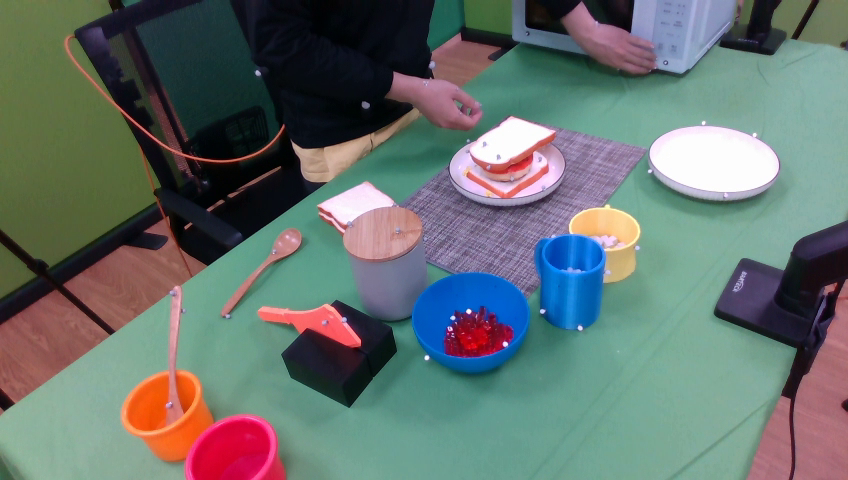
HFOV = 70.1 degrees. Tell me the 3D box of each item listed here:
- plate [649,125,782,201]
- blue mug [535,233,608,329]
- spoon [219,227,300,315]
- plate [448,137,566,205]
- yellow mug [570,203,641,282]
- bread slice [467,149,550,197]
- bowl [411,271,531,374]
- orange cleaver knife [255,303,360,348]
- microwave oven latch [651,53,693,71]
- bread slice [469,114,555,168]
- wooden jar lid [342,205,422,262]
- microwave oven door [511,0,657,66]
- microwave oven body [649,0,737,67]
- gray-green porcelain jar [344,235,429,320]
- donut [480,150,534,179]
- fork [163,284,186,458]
[{"bbox_3d":[0.494,-0.128,1.037,0.207,0.039,0.206,-4,40,4],"label":"plate"},{"bbox_3d":[0.191,0.048,0.825,0.082,0.106,0.115,-26,44,-20],"label":"blue mug"},{"bbox_3d":[-0.260,0.045,0.954,0.041,0.021,0.194,27,48,10],"label":"spoon"},{"bbox_3d":[0.147,-0.124,1.076,0.209,0.038,0.208,-4,41,4],"label":"plate"},{"bbox_3d":[0.269,-0.005,0.905,0.099,0.064,0.130,7,42,15],"label":"yellow mug"},{"bbox_3d":[0.157,-0.131,1.082,0.132,0.019,0.104,-32,47,-27],"label":"bread slice"},{"bbox_3d":[0.062,0.119,0.781,0.151,0.077,0.150,-4,40,4],"label":"bowl"},{"bbox_3d":[-0.160,0.115,0.813,0.210,0.077,0.012,-5,32,46],"label":"orange cleaver knife"},{"bbox_3d":[0.533,-0.387,1.302,0.078,0.029,0.030,29,53,35],"label":"microwave oven latch"},{"bbox_3d":[0.145,-0.168,1.036,0.134,0.018,0.106,-39,43,-24],"label":"bread slice"},{"bbox_3d":[-0.055,-0.006,0.809,0.108,0.021,0.108,-6,40,6],"label":"wooden jar lid"},{"bbox_3d":[0.351,-0.540,1.349,0.353,0.245,0.039,24,50,31],"label":"microwave oven door"},{"bbox_3d":[0.476,-0.602,1.411,0.438,0.261,0.327,23,50,32],"label":"microwave oven body"},{"bbox_3d":[-0.049,0.042,0.850,0.106,0.127,0.105,-4,41,4],"label":"gray-green porcelain jar"},{"bbox_3d":[0.143,-0.146,1.058,0.099,0.048,0.098,-3,42,3],"label":"donut"},{"bbox_3d":[-0.302,0.157,0.733,0.028,0.019,0.207,-3,84,14],"label":"fork"}]
